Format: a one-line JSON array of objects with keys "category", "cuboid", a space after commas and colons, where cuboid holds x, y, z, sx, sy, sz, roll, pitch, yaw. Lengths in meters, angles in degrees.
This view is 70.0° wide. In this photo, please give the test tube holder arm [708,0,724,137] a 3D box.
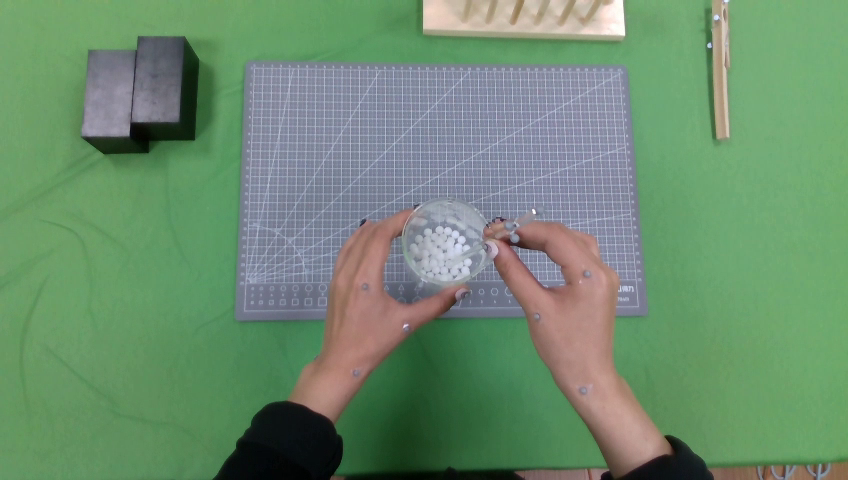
[{"category": "test tube holder arm", "cuboid": [0.352, -0.209, 0.728, 0.013, 0.015, 0.177, 12, 77, -31]}]

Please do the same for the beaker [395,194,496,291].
[{"category": "beaker", "cuboid": [0.017, 0.008, 0.542, 0.084, 0.100, 0.074, 13, 80, -1]}]

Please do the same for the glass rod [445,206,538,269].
[{"category": "glass rod", "cuboid": [0.045, 0.003, 0.466, 0.008, 0.200, 0.008, 3, 77, -13]}]

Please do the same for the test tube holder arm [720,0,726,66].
[{"category": "test tube holder arm", "cuboid": [0.360, -0.252, 0.740, 0.010, 0.015, 0.087, 12, 77, -31]}]

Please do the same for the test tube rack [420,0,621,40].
[{"category": "test tube rack", "cuboid": [0.118, -0.287, 0.699, 0.242, 0.085, 0.066, 1, 78, -3]}]
